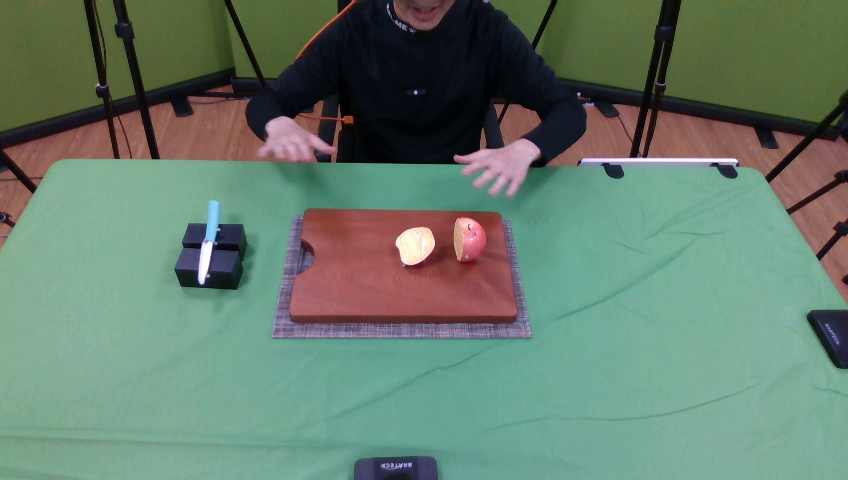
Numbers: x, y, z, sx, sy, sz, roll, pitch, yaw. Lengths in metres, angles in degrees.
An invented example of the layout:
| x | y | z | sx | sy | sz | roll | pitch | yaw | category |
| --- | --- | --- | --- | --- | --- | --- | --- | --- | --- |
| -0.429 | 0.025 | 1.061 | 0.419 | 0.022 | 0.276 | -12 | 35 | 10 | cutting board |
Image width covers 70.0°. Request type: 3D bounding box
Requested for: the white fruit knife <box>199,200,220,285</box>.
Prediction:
| x | y | z | sx | sy | sz | roll | pitch | yaw | category |
| --- | --- | --- | --- | --- | --- | --- | --- | --- | --- |
| -0.391 | 0.001 | 1.104 | 0.027 | 0.016 | 0.206 | -18 | 49 | 11 | white fruit knife |

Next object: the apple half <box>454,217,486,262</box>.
| x | y | z | sx | sy | sz | roll | pitch | yaw | category |
| --- | --- | --- | --- | --- | --- | --- | --- | --- | --- |
| 0.088 | 0.000 | 1.126 | 0.053 | 0.075 | 0.080 | -2 | 42 | -11 | apple half |

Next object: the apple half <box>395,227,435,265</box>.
| x | y | z | sx | sy | sz | roll | pitch | yaw | category |
| --- | --- | --- | --- | --- | --- | --- | --- | --- | --- |
| -0.011 | 0.015 | 1.126 | 0.081 | 0.033 | 0.081 | -9 | 58 | 15 | apple half |
